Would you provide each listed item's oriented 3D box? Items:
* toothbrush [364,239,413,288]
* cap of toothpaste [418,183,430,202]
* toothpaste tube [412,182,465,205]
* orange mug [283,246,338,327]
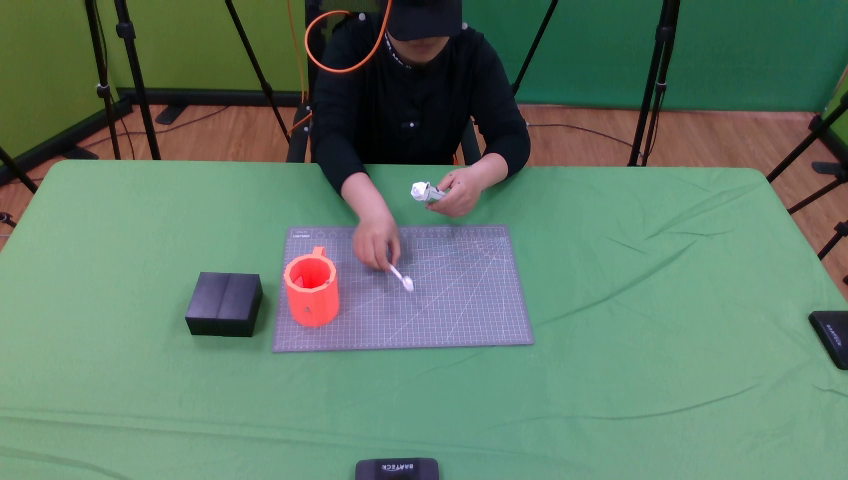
[{"bbox_3d":[-0.069,0.039,1.126,0.014,0.017,0.180,-22,37,-23],"label":"toothbrush"},{"bbox_3d":[-0.001,-0.085,1.070,0.011,0.037,0.037,24,49,15],"label":"cap of toothpaste"},{"bbox_3d":[0.024,-0.084,1.158,0.055,0.165,0.034,-1,85,26],"label":"toothpaste tube"},{"bbox_3d":[-0.192,0.074,1.056,0.083,0.101,0.125,5,50,1],"label":"orange mug"}]
